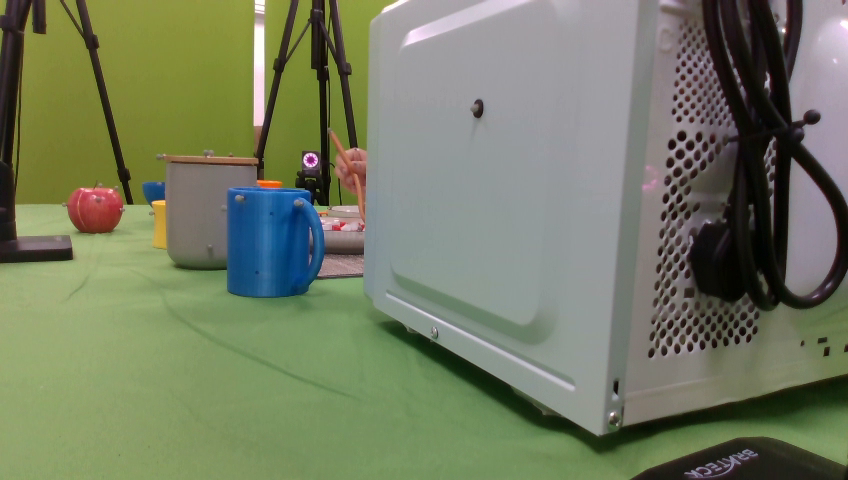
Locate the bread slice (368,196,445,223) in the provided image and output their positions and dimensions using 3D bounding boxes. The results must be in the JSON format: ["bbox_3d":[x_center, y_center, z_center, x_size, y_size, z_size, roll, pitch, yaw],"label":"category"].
[{"bbox_3d":[-0.040,-0.057,1.142,0.107,0.018,0.133,-8,-8,-40],"label":"bread slice"}]

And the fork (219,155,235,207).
[{"bbox_3d":[-0.459,-0.134,1.415,0.028,0.018,0.207,-1,-34,-24],"label":"fork"}]

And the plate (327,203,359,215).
[{"bbox_3d":[-0.102,-0.053,1.299,0.209,0.038,0.209,2,8,0],"label":"plate"}]

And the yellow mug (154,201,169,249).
[{"bbox_3d":[-0.338,-0.022,0.899,0.130,0.064,0.100,8,9,34],"label":"yellow mug"}]

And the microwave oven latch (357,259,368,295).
[{"bbox_3d":[-0.019,0.031,0.529,0.079,0.029,0.030,-1,7,-26],"label":"microwave oven latch"}]

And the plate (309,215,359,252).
[{"bbox_3d":[-0.130,-0.011,0.945,0.208,0.039,0.207,2,7,0],"label":"plate"}]

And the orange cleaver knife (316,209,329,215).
[{"bbox_3d":[-0.259,-0.064,1.423,0.212,0.012,0.077,-4,3,-30],"label":"orange cleaver knife"}]

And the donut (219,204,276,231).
[{"bbox_3d":[-0.316,-0.039,1.083,0.099,0.048,0.099,3,7,0],"label":"donut"}]

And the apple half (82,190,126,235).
[{"bbox_3d":[-0.517,-0.046,0.994,0.032,0.081,0.081,0,6,26],"label":"apple half"}]

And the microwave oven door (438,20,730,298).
[{"bbox_3d":[0.181,-0.076,0.618,0.358,0.243,0.039,-2,8,-28],"label":"microwave oven door"}]

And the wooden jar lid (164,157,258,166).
[{"bbox_3d":[-0.261,-0.093,0.746,0.108,0.020,0.108,0,9,0],"label":"wooden jar lid"}]

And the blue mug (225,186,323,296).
[{"bbox_3d":[-0.148,0.000,0.618,0.116,0.106,0.083,7,9,33],"label":"blue mug"}]

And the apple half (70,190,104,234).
[{"bbox_3d":[-0.552,-0.047,1.009,0.053,0.074,0.081,0,9,26],"label":"apple half"}]

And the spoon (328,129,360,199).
[{"bbox_3d":[-0.107,-0.094,0.936,0.021,0.193,0.042,-26,-17,10],"label":"spoon"}]

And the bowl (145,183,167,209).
[{"bbox_3d":[-0.459,-0.068,1.175,0.151,0.077,0.151,3,7,0],"label":"bowl"}]

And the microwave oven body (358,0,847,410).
[{"bbox_3d":[0.210,-0.051,0.471,0.444,0.260,0.324,-1,7,-28],"label":"microwave oven body"}]

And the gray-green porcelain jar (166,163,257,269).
[{"bbox_3d":[-0.263,-0.031,0.754,0.106,0.126,0.106,2,7,0],"label":"gray-green porcelain jar"}]

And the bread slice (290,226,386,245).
[{"bbox_3d":[-0.125,-0.008,0.937,0.131,0.019,0.105,4,8,32],"label":"bread slice"}]
